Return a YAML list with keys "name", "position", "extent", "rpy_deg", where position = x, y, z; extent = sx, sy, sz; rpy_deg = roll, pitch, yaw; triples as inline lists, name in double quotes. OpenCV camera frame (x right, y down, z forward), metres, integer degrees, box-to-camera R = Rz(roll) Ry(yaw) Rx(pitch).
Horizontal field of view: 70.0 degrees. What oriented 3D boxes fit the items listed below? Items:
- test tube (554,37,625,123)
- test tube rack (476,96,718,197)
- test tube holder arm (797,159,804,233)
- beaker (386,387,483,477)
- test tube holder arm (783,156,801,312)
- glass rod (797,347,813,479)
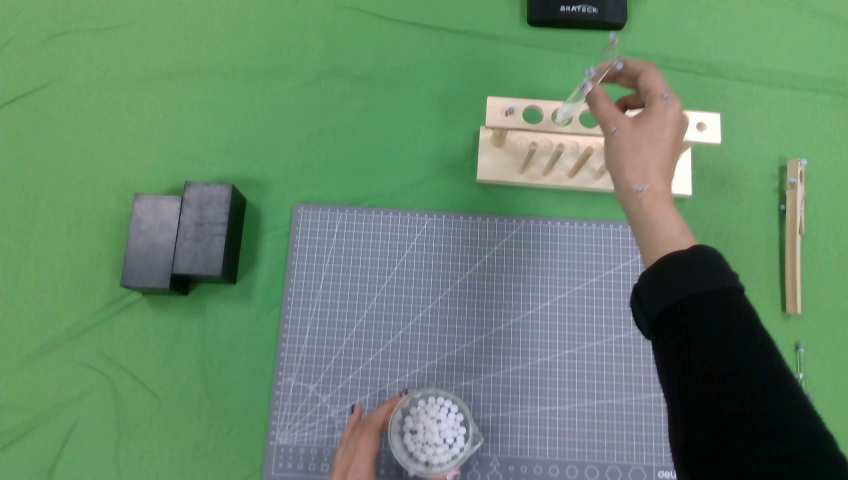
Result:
- name: "test tube"
  position: [0.148, -0.142, 0.561]
  extent: [0.017, 0.150, 0.017]
  rpy_deg: [1, 78, -5]
- name: "test tube rack"
  position: [0.183, -0.100, 0.664]
  extent: [0.242, 0.085, 0.066]
  rpy_deg: [4, 76, 0]
- name: "test tube holder arm"
  position: [0.424, -0.050, 0.690]
  extent: [0.010, 0.015, 0.087]
  rpy_deg: [17, 76, -29]
- name: "beaker"
  position: [0.011, 0.178, 0.565]
  extent: [0.084, 0.101, 0.073]
  rpy_deg: [8, 75, 5]
- name: "test tube holder arm"
  position: [0.412, -0.008, 0.678]
  extent: [0.013, 0.015, 0.177]
  rpy_deg: [16, 76, -29]
- name: "glass rod"
  position: [0.400, 0.212, 0.633]
  extent: [0.008, 0.008, 0.198]
  rpy_deg: [5, 77, 0]
